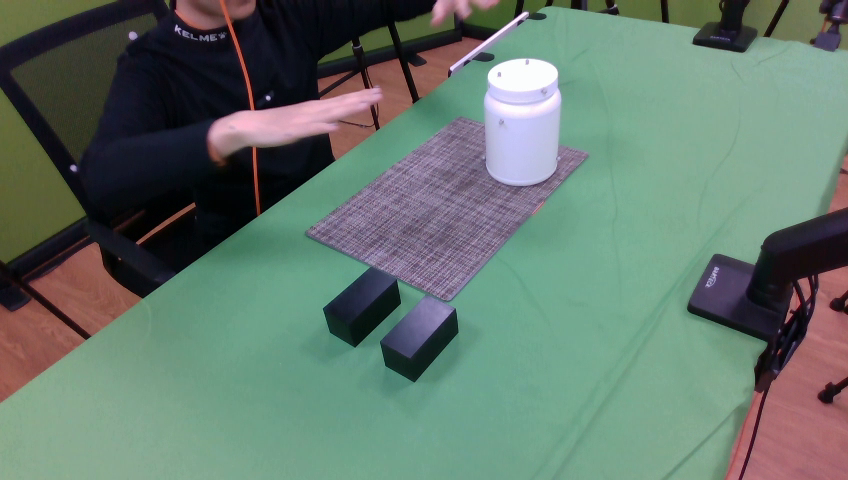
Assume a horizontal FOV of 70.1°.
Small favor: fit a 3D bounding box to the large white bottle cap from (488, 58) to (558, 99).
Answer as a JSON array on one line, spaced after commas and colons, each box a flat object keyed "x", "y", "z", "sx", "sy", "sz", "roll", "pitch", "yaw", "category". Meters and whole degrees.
[{"x": 0.162, "y": -0.267, "z": 0.994, "sx": 0.115, "sy": 0.018, "sz": 0.114, "roll": -3, "pitch": 41, "yaw": 3, "category": "large white bottle cap"}]

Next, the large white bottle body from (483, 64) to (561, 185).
[{"x": 0.169, "y": -0.204, "z": 1.049, "sx": 0.130, "sy": 0.185, "sz": 0.130, "roll": -4, "pitch": 41, "yaw": 4, "category": "large white bottle body"}]
